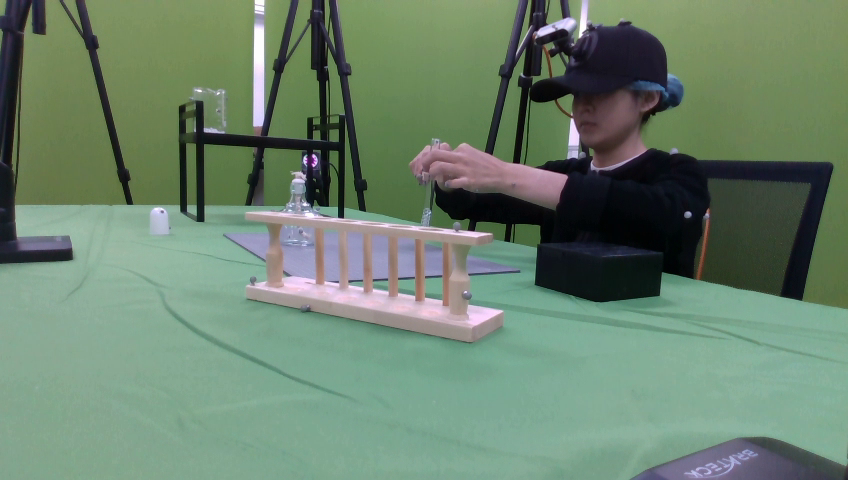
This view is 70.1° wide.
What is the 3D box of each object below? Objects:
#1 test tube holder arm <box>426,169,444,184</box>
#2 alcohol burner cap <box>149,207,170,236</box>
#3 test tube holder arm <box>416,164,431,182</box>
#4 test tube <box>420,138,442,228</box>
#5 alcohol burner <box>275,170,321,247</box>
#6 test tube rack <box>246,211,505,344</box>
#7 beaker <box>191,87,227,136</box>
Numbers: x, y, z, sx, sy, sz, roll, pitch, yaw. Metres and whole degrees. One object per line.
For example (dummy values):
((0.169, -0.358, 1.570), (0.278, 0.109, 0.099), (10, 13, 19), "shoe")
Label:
((0.012, -0.105, 0.988), (0.010, 0.015, 0.087), (7, 12, -23), "test tube holder arm")
((-0.445, -0.032, 1.019), (0.034, 0.048, 0.034), (5, 8, 0), "alcohol burner cap")
((-0.002, -0.116, 1.029), (0.013, 0.015, 0.178), (11, 11, -9), "test tube holder arm")
((0.011, -0.088, 0.967), (0.017, 0.150, 0.017), (8, 11, -1), "test tube")
((-0.199, -0.049, 0.948), (0.078, 0.119, 0.078), (1, 7, 0), "alcohol burner")
((-0.049, 0.025, 0.547), (0.241, 0.085, 0.067), (7, 8, 29), "test tube rack")
((-0.476, -0.284, 1.345), (0.074, 0.100, 0.083), (-3, 10, -37), "beaker")
